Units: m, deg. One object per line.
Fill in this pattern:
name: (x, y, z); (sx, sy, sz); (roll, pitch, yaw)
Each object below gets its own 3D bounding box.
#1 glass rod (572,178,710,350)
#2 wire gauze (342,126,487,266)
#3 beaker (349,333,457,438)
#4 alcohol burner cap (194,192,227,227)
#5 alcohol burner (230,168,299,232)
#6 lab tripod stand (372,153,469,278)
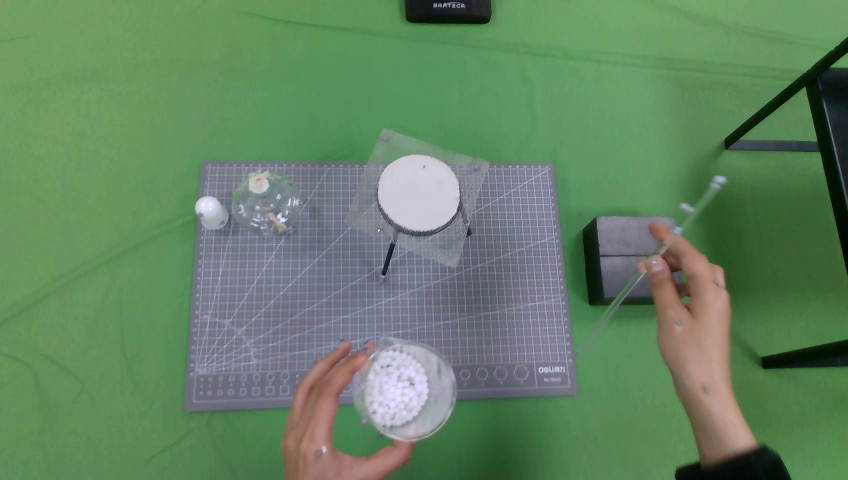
glass rod: (0.190, 0.027, 0.544); (0.008, 0.008, 0.200); (32, 115, 4)
wire gauze: (-0.008, -0.050, 0.627); (0.125, 0.011, 0.121); (20, 73, -1)
beaker: (-0.025, 0.120, 0.508); (0.074, 0.100, 0.084); (-27, 85, -18)
alcohol burner cap: (-0.253, -0.038, 0.713); (0.034, 0.048, 0.033); (2, 73, -5)
alcohol burner: (-0.183, -0.052, 0.688); (0.078, 0.119, 0.077); (2, 73, -7)
lab tripod stand: (-0.011, -0.033, 0.692); (0.148, 0.132, 0.147); (2, 72, -6)
